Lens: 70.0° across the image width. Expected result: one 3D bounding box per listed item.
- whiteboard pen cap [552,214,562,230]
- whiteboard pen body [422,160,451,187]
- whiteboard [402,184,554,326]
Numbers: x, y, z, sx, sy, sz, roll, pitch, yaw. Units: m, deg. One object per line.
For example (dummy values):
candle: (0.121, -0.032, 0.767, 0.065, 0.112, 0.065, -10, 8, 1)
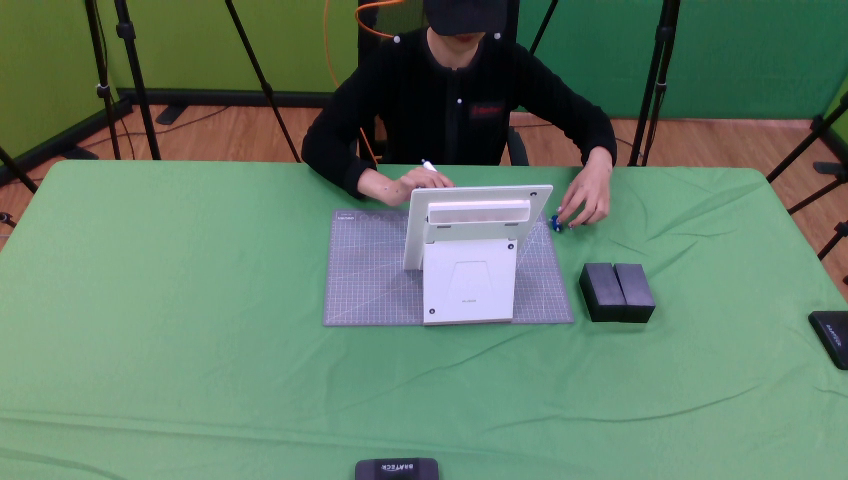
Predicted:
whiteboard pen cap: (0.275, -0.037, 1.259, 0.018, 0.018, 0.033, 0, 44, -3)
whiteboard pen body: (0.034, -0.113, 1.181, 0.017, 0.017, 0.140, -20, 50, -21)
whiteboard: (0.081, 0.044, 1.005, 0.217, 0.306, 0.143, -1, 66, -6)
